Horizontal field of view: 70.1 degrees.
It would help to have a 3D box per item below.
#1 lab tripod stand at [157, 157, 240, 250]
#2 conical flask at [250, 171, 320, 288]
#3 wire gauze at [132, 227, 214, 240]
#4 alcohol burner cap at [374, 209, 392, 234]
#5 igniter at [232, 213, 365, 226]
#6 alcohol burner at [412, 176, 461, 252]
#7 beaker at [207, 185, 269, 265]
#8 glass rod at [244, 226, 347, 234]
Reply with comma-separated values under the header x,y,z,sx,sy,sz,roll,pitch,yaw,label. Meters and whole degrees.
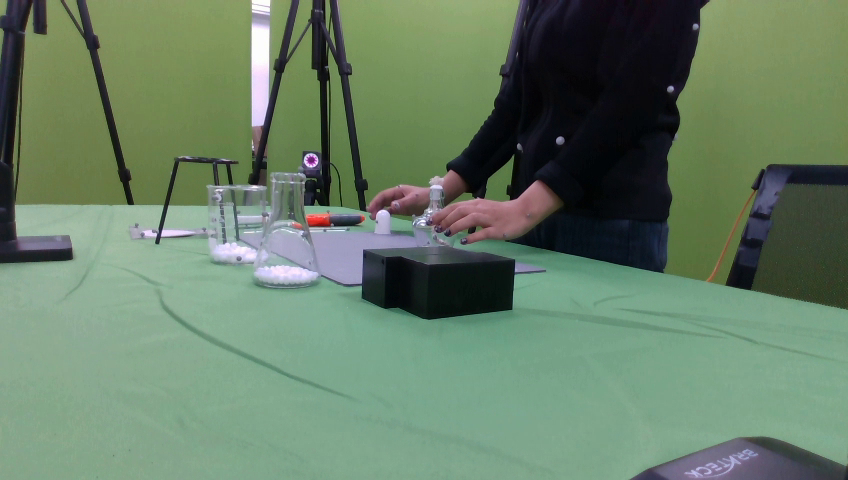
x,y,z,sx,sy,sz,roll,pitch,yaw,label
-0.322,-0.057,0.905,0.148,0.131,0.148,4,7,0,lab tripod stand
-0.150,-0.013,0.658,0.075,0.122,0.075,2,7,0,conical flask
-0.425,-0.013,1.018,0.122,0.011,0.124,-1,6,-28,wire gauze
-0.078,-0.036,1.148,0.034,0.048,0.034,1,7,0,alcohol burner cap
-0.246,-0.042,1.223,0.278,0.025,0.057,-3,-1,-36,igniter
0.020,-0.041,0.948,0.078,0.119,0.078,0,7,0,alcohol burner
-0.244,-0.021,0.784,0.083,0.100,0.074,6,8,30,beaker
-0.239,-0.019,1.145,0.201,0.008,0.008,-4,9,-29,glass rod
